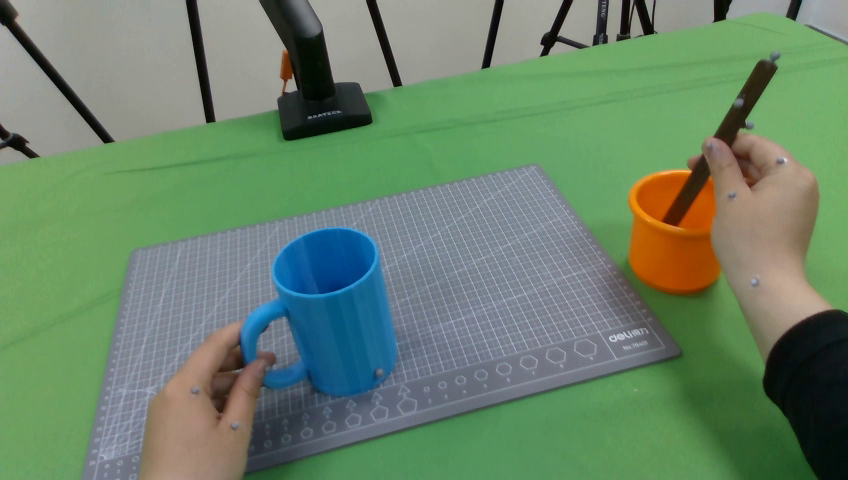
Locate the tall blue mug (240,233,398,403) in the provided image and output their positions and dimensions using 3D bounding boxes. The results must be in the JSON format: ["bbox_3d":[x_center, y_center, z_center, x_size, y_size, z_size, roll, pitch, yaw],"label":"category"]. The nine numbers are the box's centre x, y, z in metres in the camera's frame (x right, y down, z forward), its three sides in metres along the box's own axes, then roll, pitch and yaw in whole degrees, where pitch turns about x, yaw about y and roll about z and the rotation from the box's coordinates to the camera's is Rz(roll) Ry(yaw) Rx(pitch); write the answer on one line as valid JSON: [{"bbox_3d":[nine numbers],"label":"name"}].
[{"bbox_3d":[-0.072,0.069,0.448,0.077,0.109,0.107,14,43,23],"label":"tall blue mug"}]

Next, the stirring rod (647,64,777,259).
[{"bbox_3d":[0.214,-0.052,0.462,0.014,0.177,0.006,33,44,20],"label":"stirring rod"}]
